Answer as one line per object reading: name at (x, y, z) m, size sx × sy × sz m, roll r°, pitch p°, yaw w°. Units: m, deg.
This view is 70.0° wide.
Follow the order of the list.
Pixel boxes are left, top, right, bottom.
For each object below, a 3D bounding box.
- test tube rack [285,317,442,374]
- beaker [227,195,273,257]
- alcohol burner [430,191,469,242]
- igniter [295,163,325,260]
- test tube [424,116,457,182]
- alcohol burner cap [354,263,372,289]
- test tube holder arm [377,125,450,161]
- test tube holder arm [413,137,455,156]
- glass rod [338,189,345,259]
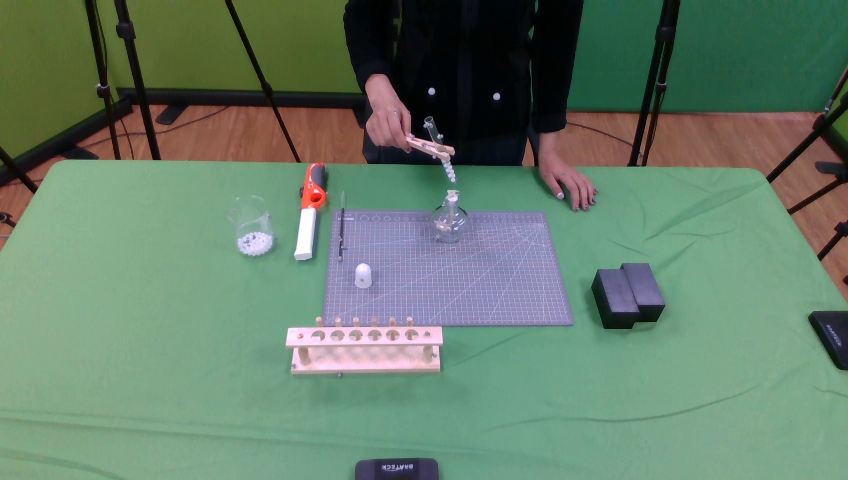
test tube rack at (-0.095, 0.166, 0.988) m, size 0.242 × 0.085 × 0.066 m, roll 0°, pitch 46°, yaw -4°
beaker at (-0.326, -0.022, 1.142) m, size 0.074 × 0.101 × 0.083 m, roll 10°, pitch 47°, yaw 6°
alcohol burner at (0.052, -0.053, 1.185) m, size 0.078 × 0.119 × 0.077 m, roll 2°, pitch 48°, yaw -2°
igniter at (-0.233, -0.067, 1.243) m, size 0.057 × 0.025 × 0.274 m, roll -7°, pitch 46°, yaw 4°
test tube at (0.031, -0.158, 1.070) m, size 0.017 × 0.151 × 0.017 m, roll -13°, pitch 47°, yaw 14°
alcohol burner cap at (-0.113, 0.063, 1.111) m, size 0.034 × 0.048 × 0.033 m, roll 2°, pitch 46°, yaw -2°
test tube holder arm at (-0.022, -0.179, 1.106) m, size 0.177 × 0.015 × 0.013 m, roll 26°, pitch 63°, yaw 33°
test tube holder arm at (0.016, -0.168, 1.085) m, size 0.087 × 0.015 × 0.010 m, roll 19°, pitch 59°, yaw 30°
glass rod at (-0.166, -0.036, 1.227) m, size 0.008 × 0.008 × 0.198 m, roll -1°, pitch 46°, yaw -4°
